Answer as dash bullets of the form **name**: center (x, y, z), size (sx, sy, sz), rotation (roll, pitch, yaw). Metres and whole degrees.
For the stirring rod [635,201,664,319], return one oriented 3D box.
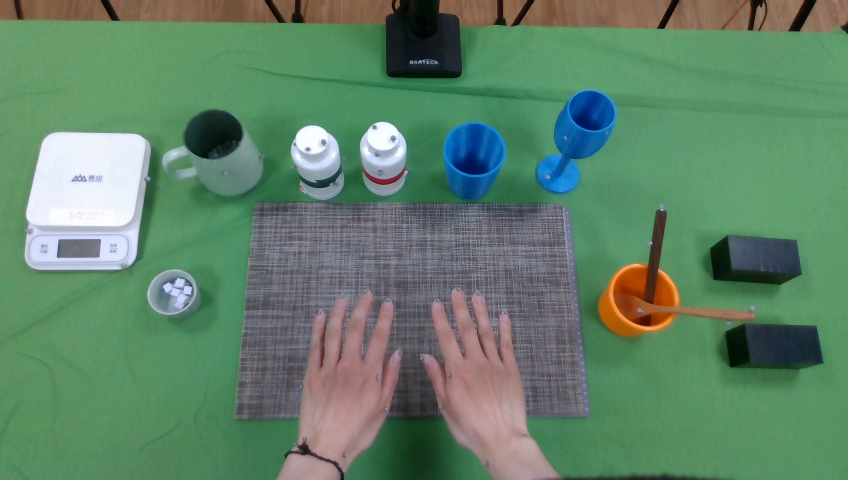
- **stirring rod**: center (0.294, 0.031, 0.792), size (0.014, 0.177, 0.006), rotation (4, 29, 12)

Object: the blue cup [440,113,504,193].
- **blue cup**: center (0.064, -0.114, 0.855), size (0.093, 0.101, 0.092), rotation (0, 70, -1)

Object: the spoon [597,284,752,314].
- **spoon**: center (0.313, 0.080, 0.776), size (0.022, 0.192, 0.041), rotation (25, 73, -40)

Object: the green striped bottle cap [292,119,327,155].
- **green striped bottle cap**: center (-0.148, -0.134, 0.784), size (0.044, 0.020, 0.044), rotation (1, 70, -3)

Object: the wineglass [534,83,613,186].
- **wineglass**: center (0.202, -0.140, 0.834), size (0.074, 0.173, 0.073), rotation (1, 70, -2)

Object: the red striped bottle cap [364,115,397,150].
- **red striped bottle cap**: center (-0.057, -0.141, 0.791), size (0.044, 0.018, 0.044), rotation (1, 73, -3)

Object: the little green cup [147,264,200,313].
- **little green cup**: center (-0.327, 0.066, 0.800), size (0.061, 0.039, 0.061), rotation (2, 70, -4)

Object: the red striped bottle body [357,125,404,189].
- **red striped bottle body**: center (-0.060, -0.122, 0.840), size (0.063, 0.120, 0.062), rotation (1, 70, -3)

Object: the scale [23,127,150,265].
- **scale**: center (-0.468, -0.064, 0.841), size (0.149, 0.032, 0.199), rotation (0, 71, -3)

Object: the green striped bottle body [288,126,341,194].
- **green striped bottle body**: center (-0.150, -0.115, 0.833), size (0.063, 0.120, 0.063), rotation (1, 70, -2)

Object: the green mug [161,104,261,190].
- **green mug**: center (-0.295, -0.121, 0.834), size (0.125, 0.105, 0.092), rotation (-21, 73, -10)
